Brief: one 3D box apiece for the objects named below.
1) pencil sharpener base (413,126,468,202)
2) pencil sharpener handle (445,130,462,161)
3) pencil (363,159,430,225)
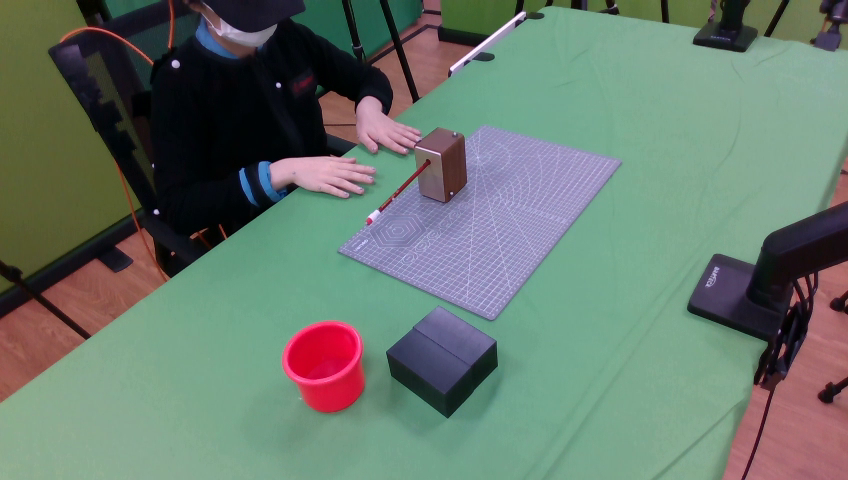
[{"bbox_3d":[0.032,-0.132,1.047,0.061,0.107,0.077,21,48,30],"label":"pencil sharpener base"},{"bbox_3d":[0.057,-0.172,1.071,0.036,0.068,0.031,31,52,19],"label":"pencil sharpener handle"},{"bbox_3d":[-0.033,-0.088,0.978,0.012,0.012,0.194,24,57,32],"label":"pencil"}]
